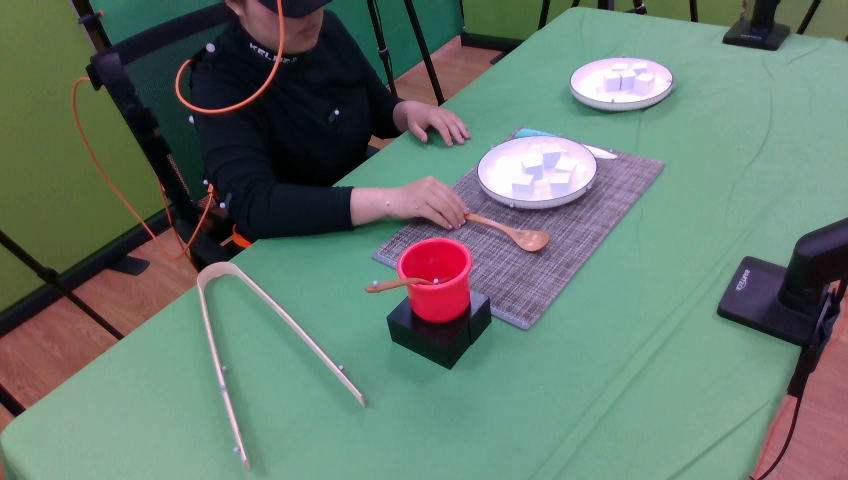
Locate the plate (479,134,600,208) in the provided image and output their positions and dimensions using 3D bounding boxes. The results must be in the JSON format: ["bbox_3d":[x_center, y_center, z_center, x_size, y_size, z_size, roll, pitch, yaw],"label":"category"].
[{"bbox_3d":[0.202,-0.117,1.065,0.207,0.039,0.206,-5,40,5],"label":"plate"}]

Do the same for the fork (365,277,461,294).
[{"bbox_3d":[-0.009,0.055,0.744,0.028,0.018,0.209,27,10,28],"label":"fork"}]

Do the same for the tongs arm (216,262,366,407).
[{"bbox_3d":[-0.201,0.121,0.871,0.028,0.028,0.384,-36,46,-24],"label":"tongs arm"}]

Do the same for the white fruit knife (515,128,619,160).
[{"bbox_3d":[0.269,-0.182,1.148,0.206,0.016,0.027,21,77,29],"label":"white fruit knife"}]

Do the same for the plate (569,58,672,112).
[{"bbox_3d":[0.411,-0.323,1.274,0.209,0.038,0.208,-5,41,5],"label":"plate"}]

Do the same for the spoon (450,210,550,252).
[{"bbox_3d":[0.118,-0.022,0.979,0.192,0.022,0.041,24,68,33],"label":"spoon"}]

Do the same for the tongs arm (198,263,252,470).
[{"bbox_3d":[-0.270,0.154,0.840,0.051,0.026,0.381,-23,41,-17],"label":"tongs arm"}]
